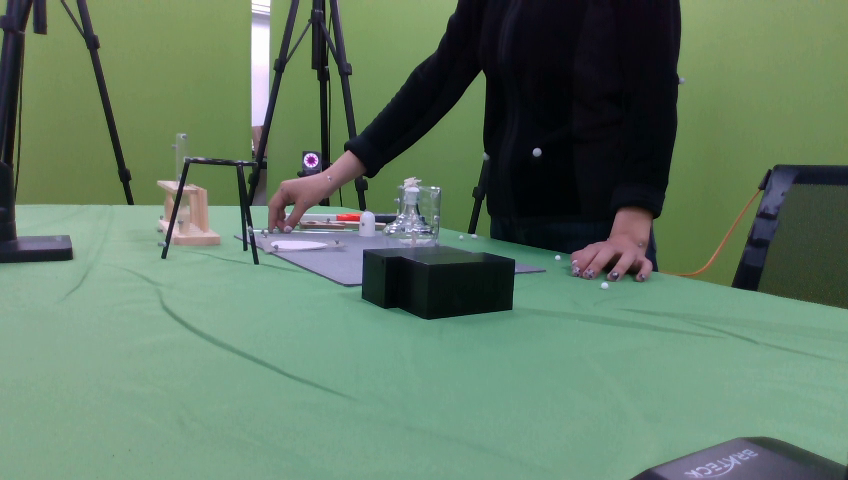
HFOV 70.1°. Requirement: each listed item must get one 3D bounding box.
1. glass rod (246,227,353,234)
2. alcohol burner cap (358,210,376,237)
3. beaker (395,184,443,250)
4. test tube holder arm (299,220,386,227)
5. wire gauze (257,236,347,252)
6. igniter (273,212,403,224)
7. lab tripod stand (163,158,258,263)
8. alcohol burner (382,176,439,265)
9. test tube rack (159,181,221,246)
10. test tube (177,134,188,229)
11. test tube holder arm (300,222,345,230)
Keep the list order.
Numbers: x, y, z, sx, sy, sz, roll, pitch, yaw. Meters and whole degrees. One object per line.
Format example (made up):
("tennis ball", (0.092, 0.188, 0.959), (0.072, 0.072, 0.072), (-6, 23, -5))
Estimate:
("glass rod", (-0.225, -0.017, 1.110), (0.201, 0.008, 0.008), (2, 6, -28))
("alcohol burner cap", (-0.104, -0.030, 1.098), (0.034, 0.048, 0.034), (2, 7, 0))
("beaker", (-0.007, -0.037, 0.965), (0.074, 0.100, 0.083), (-4, 11, -40))
("test tube holder arm", (-0.158, -0.032, 1.196), (0.179, 0.015, 0.013), (-2, 44, -29))
("wire gauze", (-0.189, 0.005, 0.931), (0.122, 0.011, 0.124), (1, 7, -21))
("igniter", (-0.179, -0.048, 1.291), (0.278, 0.025, 0.057), (-1, -2, -24))
("lab tripod stand", (-0.265, -0.041, 0.802), (0.148, 0.131, 0.148), (4, 7, 0))
("alcohol burner", (-0.018, -0.027, 0.818), (0.078, 0.119, 0.078), (3, 9, 0))
("test tube rack", (-0.395, -0.050, 1.010), (0.067, 0.085, 0.241), (-2, 8, -28))
("test tube", (-0.374, -0.089, 0.938), (0.017, 0.150, 0.017), (1, 4, 0))
("test tube holder arm", (-0.196, -0.027, 1.170), (0.088, 0.015, 0.010), (0, 44, -28))
